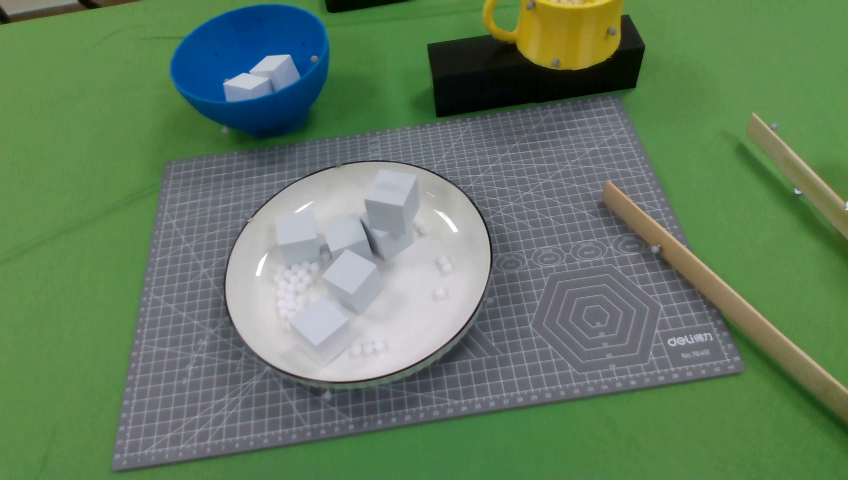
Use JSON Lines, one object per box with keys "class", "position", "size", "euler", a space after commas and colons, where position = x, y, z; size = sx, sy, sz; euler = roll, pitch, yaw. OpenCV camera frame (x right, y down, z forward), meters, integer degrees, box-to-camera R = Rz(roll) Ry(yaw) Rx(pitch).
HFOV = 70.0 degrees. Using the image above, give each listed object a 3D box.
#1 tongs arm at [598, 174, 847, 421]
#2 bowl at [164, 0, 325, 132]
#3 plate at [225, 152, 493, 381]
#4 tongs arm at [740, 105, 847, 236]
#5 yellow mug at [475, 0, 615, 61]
{"class": "tongs arm", "position": [0.261, 0.075, 0.418], "size": [0.028, 0.028, 0.383], "euler": [-31, 58, -18]}
{"class": "bowl", "position": [-0.165, -0.160, 0.597], "size": [0.151, 0.077, 0.150], "euler": [-3, 55, 5]}
{"class": "plate", "position": [-0.049, 0.018, 0.481], "size": [0.207, 0.039, 0.205], "euler": [-3, 55, 4]}
{"class": "tongs arm", "position": [0.333, 0.040, 0.431], "size": [0.051, 0.027, 0.380], "euler": [-21, 57, -8]}
{"class": "yellow mug", "position": [0.112, -0.218, 0.554], "size": [0.131, 0.064, 0.099], "euler": [-6, 54, 3]}
